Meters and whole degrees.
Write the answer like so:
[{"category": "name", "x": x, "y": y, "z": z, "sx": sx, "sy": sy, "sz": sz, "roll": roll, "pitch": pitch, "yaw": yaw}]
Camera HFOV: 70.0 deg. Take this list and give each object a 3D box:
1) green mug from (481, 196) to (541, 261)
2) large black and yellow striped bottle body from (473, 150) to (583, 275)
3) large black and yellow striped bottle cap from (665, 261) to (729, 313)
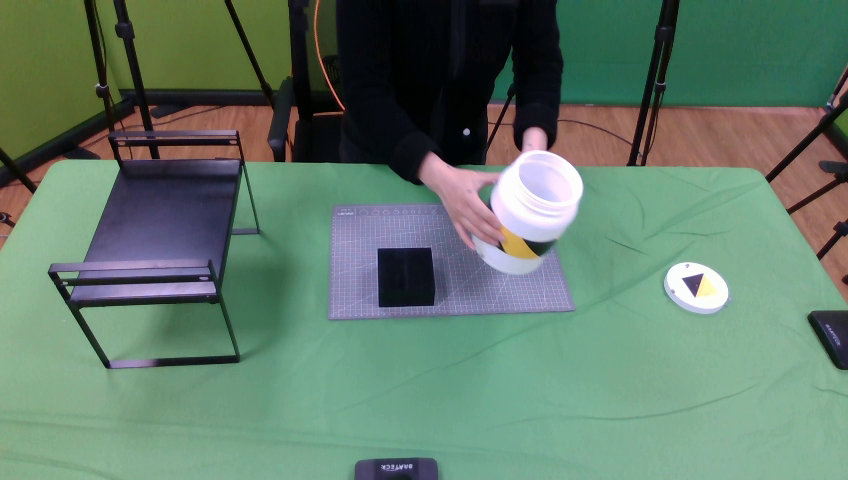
[{"category": "green mug", "x": 0.174, "y": -0.026, "z": 1.173, "sx": 0.125, "sy": 0.105, "sz": 0.092, "roll": -22, "pitch": 51, "yaw": -23}, {"category": "large black and yellow striped bottle body", "x": 0.165, "y": -0.043, "z": 0.968, "sx": 0.131, "sy": 0.184, "sz": 0.130, "roll": 8, "pitch": 54, "yaw": -11}, {"category": "large black and yellow striped bottle cap", "x": 0.518, "y": 0.087, "z": 1.152, "sx": 0.115, "sy": 0.019, "sz": 0.114, "roll": 2, "pitch": 47, "yaw": -2}]
